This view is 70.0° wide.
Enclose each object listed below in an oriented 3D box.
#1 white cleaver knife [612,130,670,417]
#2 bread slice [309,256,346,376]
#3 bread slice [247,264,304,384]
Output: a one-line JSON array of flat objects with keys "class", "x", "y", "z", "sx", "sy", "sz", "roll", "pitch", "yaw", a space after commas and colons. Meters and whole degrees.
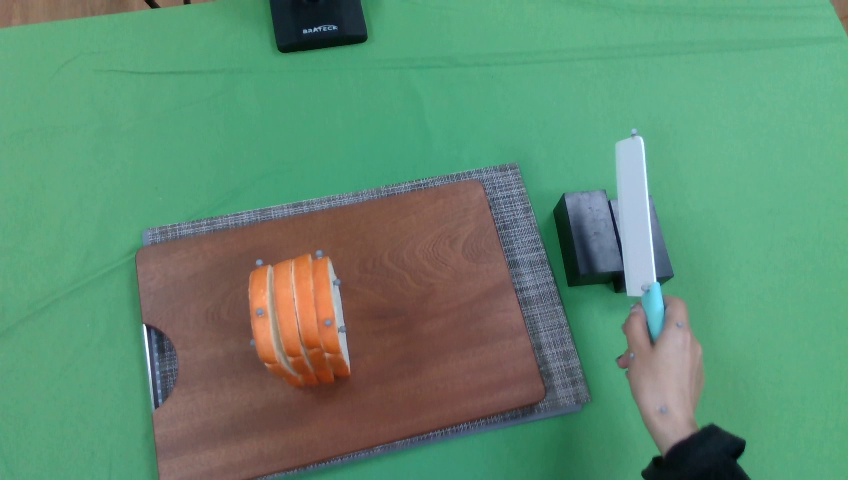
[{"class": "white cleaver knife", "x": 0.216, "y": 0.033, "z": 0.609, "sx": 0.021, "sy": 0.066, "sz": 0.286, "roll": -2, "pitch": 86, "yaw": -8}, {"class": "bread slice", "x": -0.094, "y": 0.076, "z": 0.592, "sx": 0.018, "sy": 0.135, "sz": 0.106, "roll": -10, "pitch": 74, "yaw": -8}, {"class": "bread slice", "x": -0.144, "y": 0.080, "z": 0.589, "sx": 0.019, "sy": 0.132, "sz": 0.104, "roll": -11, "pitch": 69, "yaw": -2}]
